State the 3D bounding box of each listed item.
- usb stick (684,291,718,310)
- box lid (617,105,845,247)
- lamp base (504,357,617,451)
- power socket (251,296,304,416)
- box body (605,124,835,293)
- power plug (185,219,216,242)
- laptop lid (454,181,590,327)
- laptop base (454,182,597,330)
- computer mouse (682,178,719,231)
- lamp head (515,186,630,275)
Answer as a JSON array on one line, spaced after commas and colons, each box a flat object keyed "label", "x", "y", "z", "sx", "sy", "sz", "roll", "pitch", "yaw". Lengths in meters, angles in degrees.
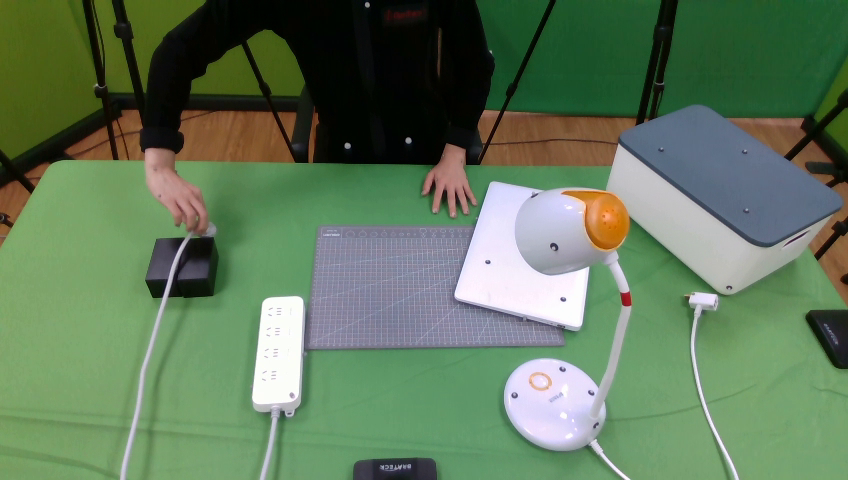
[{"label": "usb stick", "x": 0.509, "y": 0.111, "z": 1.121, "sx": 0.059, "sy": 0.021, "sz": 0.027, "roll": 6, "pitch": 53, "yaw": 46}, {"label": "box lid", "x": 0.586, "y": -0.138, "z": 1.176, "sx": 0.263, "sy": 0.015, "sz": 0.369, "roll": -22, "pitch": 51, "yaw": -23}, {"label": "lamp base", "x": 0.220, "y": 0.211, "z": 0.903, "sx": 0.160, "sy": 0.181, "sz": 0.178, "roll": -33, "pitch": 59, "yaw": -30}, {"label": "power socket", "x": -0.238, "y": 0.181, "z": 0.997, "sx": 0.072, "sy": 0.033, "sz": 0.225, "roll": -3, "pitch": 47, "yaw": -5}, {"label": "box body", "x": 0.582, "y": -0.089, "z": 1.230, "sx": 0.254, "sy": 0.161, "sz": 0.361, "roll": -22, "pitch": 52, "yaw": -23}, {"label": "power plug", "x": -0.423, "y": -0.012, "z": 1.129, "sx": 0.035, "sy": 0.053, "sz": 0.072, "roll": 37, "pitch": 44, "yaw": 20}, {"label": "laptop lid", "x": 0.210, "y": 0.010, "z": 1.193, "sx": 0.241, "sy": 0.013, "sz": 0.355, "roll": 13, "pitch": 46, "yaw": 11}, {"label": "laptop base", "x": 0.211, "y": 0.018, "z": 1.202, "sx": 0.235, "sy": 0.023, "sz": 0.352, "roll": 12, "pitch": 46, "yaw": 10}, {"label": "computer mouse", "x": 0.596, "y": -0.078, "z": 1.290, "sx": 0.117, "sy": 0.041, "sz": 0.062, "roll": 56, "pitch": 44, "yaw": -7}, {"label": "lamp head", "x": 0.188, "y": -0.013, "z": 0.728, "sx": 0.112, "sy": 0.112, "sz": 0.122, "roll": -25, "pitch": 9, "yaw": -25}]
